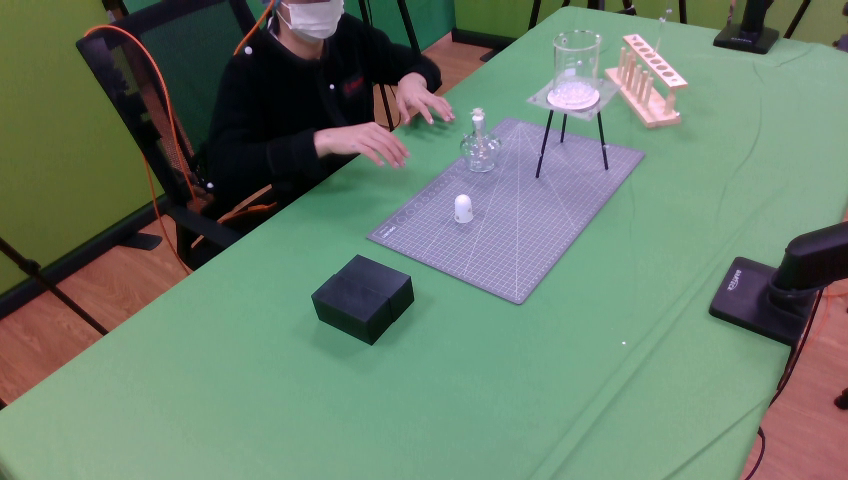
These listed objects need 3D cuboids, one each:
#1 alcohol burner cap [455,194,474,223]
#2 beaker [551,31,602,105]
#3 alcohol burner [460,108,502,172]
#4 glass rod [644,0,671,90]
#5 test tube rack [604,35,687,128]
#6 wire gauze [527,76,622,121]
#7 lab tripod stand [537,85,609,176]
[{"bbox_3d":[0.066,-0.054,1.006,0.034,0.048,0.033,-5,40,5],"label":"alcohol burner cap"},{"bbox_3d":[0.252,-0.283,0.998,0.084,0.101,0.073,-16,42,-7],"label":"beaker"},{"bbox_3d":[0.102,-0.185,1.098,0.078,0.119,0.077,-6,40,5],"label":"alcohol burner"},{"bbox_3d":[0.463,-0.387,1.204,0.008,0.200,0.008,0,46,1],"label":"glass rod"},{"bbox_3d":[0.447,-0.330,1.241,0.067,0.085,0.241,-9,41,-2],"label":"test tube rack"},{"bbox_3d":[0.255,-0.247,1.030,0.124,0.011,0.122,23,49,34],"label":"wire gauze"},{"bbox_3d":[0.259,-0.192,1.068,0.148,0.132,0.147,-4,43,4],"label":"lab tripod stand"}]
